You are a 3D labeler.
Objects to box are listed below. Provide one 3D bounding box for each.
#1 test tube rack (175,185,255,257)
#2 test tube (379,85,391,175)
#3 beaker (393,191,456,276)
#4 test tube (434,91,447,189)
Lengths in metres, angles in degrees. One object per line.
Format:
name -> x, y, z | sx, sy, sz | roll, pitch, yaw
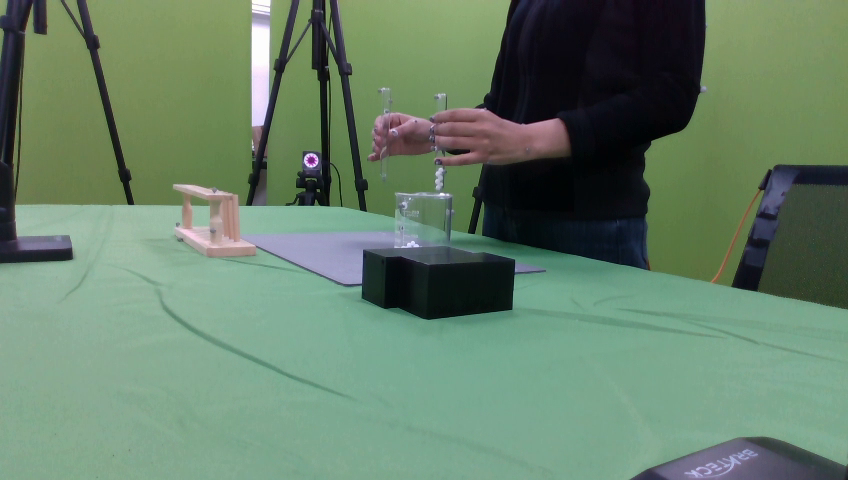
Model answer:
test tube rack -> -0.324, -0.035, 0.922 | 0.067, 0.085, 0.241 | -2, 9, -31
test tube -> -0.067, -0.185, 1.026 | 0.017, 0.150, 0.017 | 3, 12, 0
beaker -> -0.003, -0.010, 0.749 | 0.074, 0.100, 0.083 | -3, 8, -40
test tube -> 0.025, -0.153, 0.928 | 0.017, 0.150, 0.017 | 2, 5, 0
